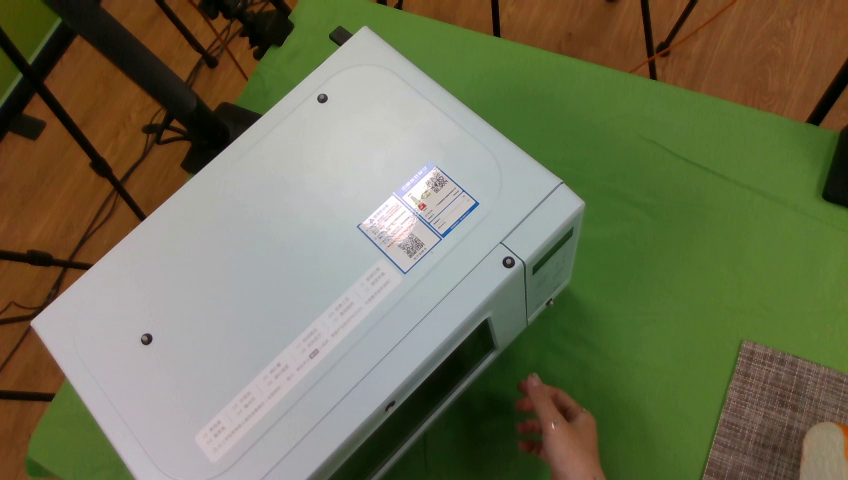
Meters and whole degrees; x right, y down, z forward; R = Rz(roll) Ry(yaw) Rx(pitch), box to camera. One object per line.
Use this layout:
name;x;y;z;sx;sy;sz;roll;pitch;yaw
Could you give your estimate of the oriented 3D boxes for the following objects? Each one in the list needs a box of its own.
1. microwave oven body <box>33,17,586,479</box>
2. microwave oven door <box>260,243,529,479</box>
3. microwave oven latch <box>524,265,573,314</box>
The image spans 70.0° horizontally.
microwave oven body;-0.101;0.047;0.662;0.441;0.262;0.323;-44;70;-7
microwave oven door;-0.032;0.167;0.601;0.355;0.246;0.039;-44;68;-7
microwave oven latch;0.143;0.051;0.722;0.079;0.030;0.030;-43;69;-6
